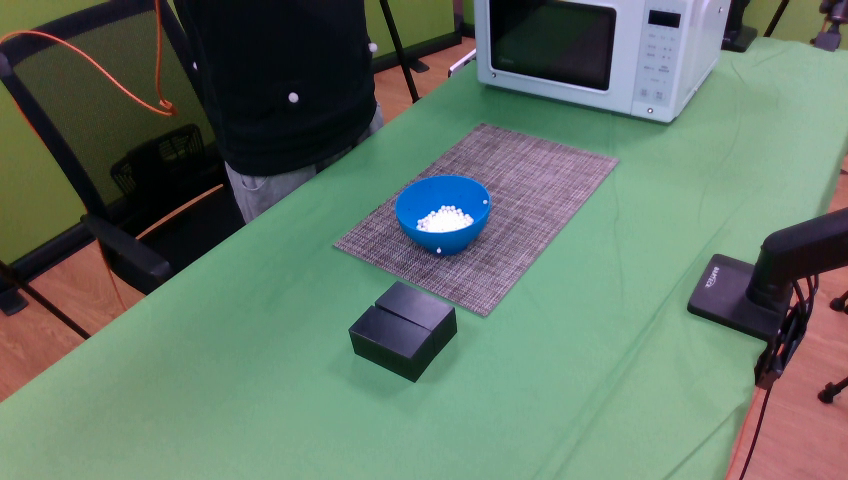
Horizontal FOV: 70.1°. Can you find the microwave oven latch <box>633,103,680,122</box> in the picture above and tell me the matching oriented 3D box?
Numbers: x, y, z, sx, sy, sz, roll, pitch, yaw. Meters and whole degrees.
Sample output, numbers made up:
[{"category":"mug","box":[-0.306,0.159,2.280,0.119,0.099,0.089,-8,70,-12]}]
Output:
[{"category":"microwave oven latch","box":[0.443,-0.249,1.157,0.078,0.029,0.030,21,49,30]}]

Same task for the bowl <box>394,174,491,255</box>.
[{"category":"bowl","box":[0.032,-0.030,0.949,0.151,0.077,0.150,-4,40,4]}]

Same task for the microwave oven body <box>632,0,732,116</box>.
[{"category":"microwave oven body","box":[0.377,-0.462,1.267,0.438,0.261,0.327,21,48,30]}]

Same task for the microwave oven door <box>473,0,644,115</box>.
[{"category":"microwave oven door","box":[0.257,-0.396,1.199,0.353,0.245,0.039,21,48,29]}]
